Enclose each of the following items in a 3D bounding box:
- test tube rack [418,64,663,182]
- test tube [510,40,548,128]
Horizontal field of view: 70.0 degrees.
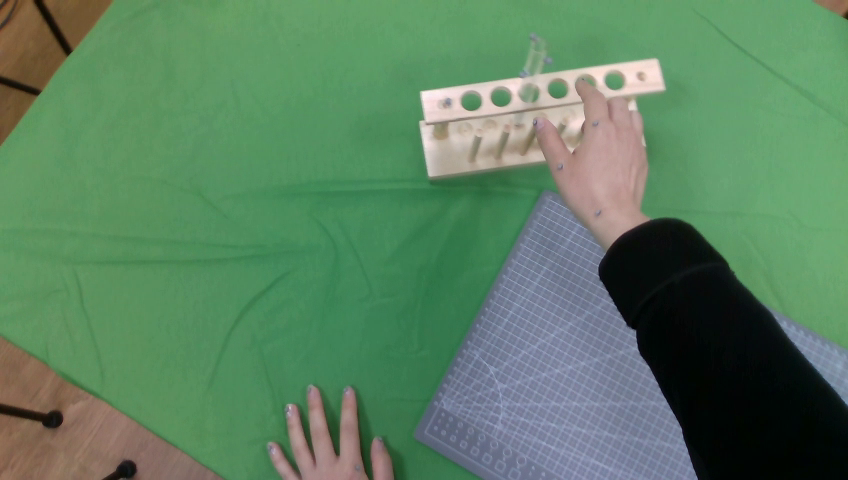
[{"bbox_3d":[0.119,-0.121,0.639,0.242,0.085,0.066,-8,78,-4],"label":"test tube rack"},{"bbox_3d":[0.100,-0.147,0.593,0.017,0.151,0.017,0,75,1],"label":"test tube"}]
